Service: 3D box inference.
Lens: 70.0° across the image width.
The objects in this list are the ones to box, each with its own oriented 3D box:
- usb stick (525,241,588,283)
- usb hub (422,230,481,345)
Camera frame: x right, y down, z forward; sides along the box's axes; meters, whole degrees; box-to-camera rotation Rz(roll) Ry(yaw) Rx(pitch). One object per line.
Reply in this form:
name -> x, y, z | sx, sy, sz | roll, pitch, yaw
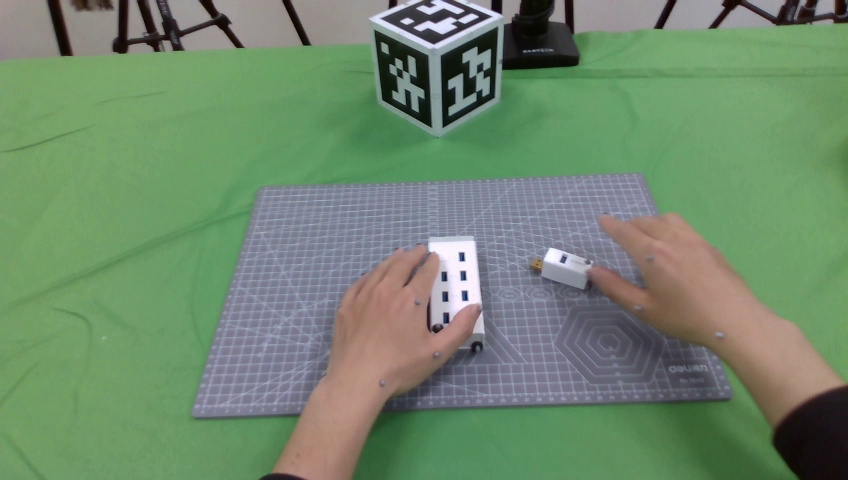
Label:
usb stick -> 0.128, 0.019, 0.592 | 0.059, 0.027, 0.021 | 16, 48, 22
usb hub -> 0.024, 0.042, 0.576 | 0.049, 0.025, 0.124 | -3, 45, 1
